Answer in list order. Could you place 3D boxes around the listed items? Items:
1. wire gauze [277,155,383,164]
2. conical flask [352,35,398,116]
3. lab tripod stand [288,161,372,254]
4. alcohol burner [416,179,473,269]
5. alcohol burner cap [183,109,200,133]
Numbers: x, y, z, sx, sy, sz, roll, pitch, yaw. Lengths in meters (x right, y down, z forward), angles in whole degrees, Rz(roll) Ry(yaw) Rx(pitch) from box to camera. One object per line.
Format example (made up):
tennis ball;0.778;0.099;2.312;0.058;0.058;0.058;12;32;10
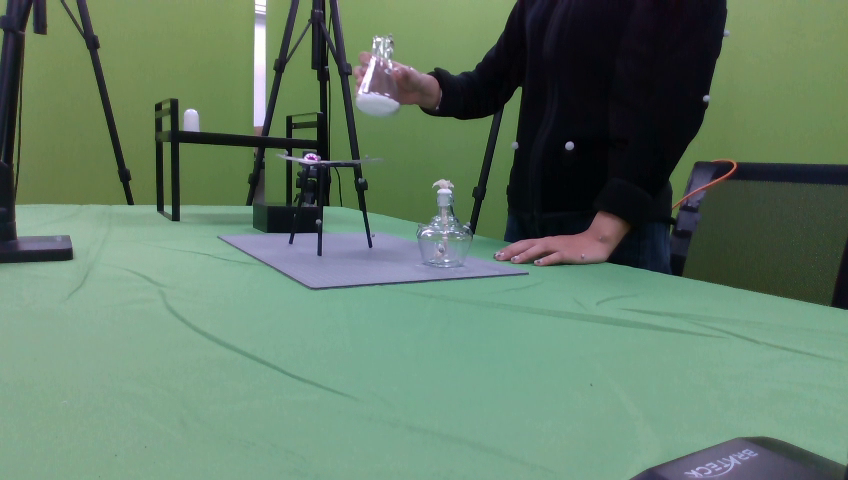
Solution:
wire gauze;-0.142;-0.118;0.899;0.122;0.011;0.124;-3;9;-36
conical flask;-0.075;-0.271;0.989;0.075;0.121;0.075;4;-12;1
lab tripod stand;-0.148;-0.052;0.908;0.148;0.131;0.148;1;8;0
alcohol burner;0.028;-0.022;0.816;0.078;0.119;0.078;0;6;0
alcohol burner cap;-0.472;-0.241;1.229;0.034;0.048;0.034;3;8;0
